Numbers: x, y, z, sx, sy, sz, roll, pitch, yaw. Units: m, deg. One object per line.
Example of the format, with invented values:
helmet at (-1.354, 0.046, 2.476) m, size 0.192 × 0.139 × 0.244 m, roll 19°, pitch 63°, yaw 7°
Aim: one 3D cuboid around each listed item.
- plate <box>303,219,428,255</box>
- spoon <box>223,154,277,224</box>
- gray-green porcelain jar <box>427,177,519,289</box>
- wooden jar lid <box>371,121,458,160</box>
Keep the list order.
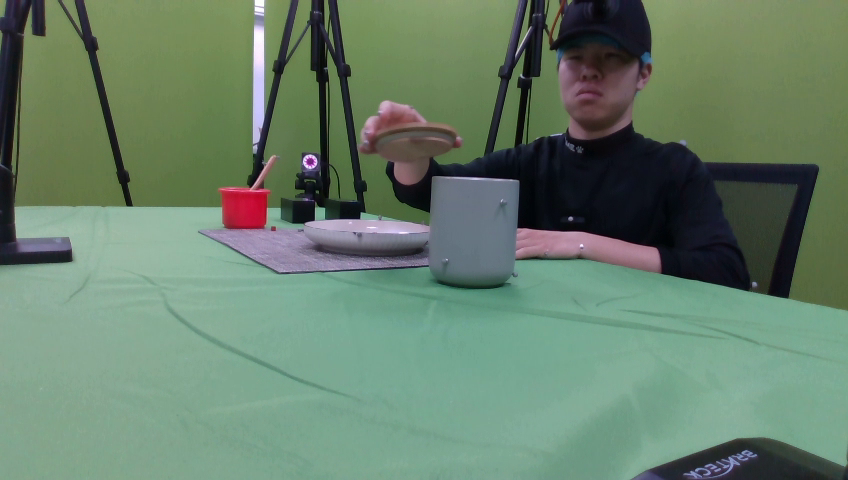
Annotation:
plate at (-0.084, -0.005, 0.952) m, size 0.208 × 0.039 × 0.207 m, roll 2°, pitch 7°, yaw 0°
spoon at (-0.345, -0.106, 1.214) m, size 0.041 × 0.022 × 0.194 m, roll 2°, pitch 45°, yaw 26°
gray-green porcelain jar at (0.057, -0.010, 0.722) m, size 0.106 × 0.126 × 0.106 m, roll 2°, pitch 7°, yaw 0°
wooden jar lid at (-0.012, -0.120, 0.748) m, size 0.108 × 0.020 × 0.108 m, roll -2°, pitch -10°, yaw 0°
